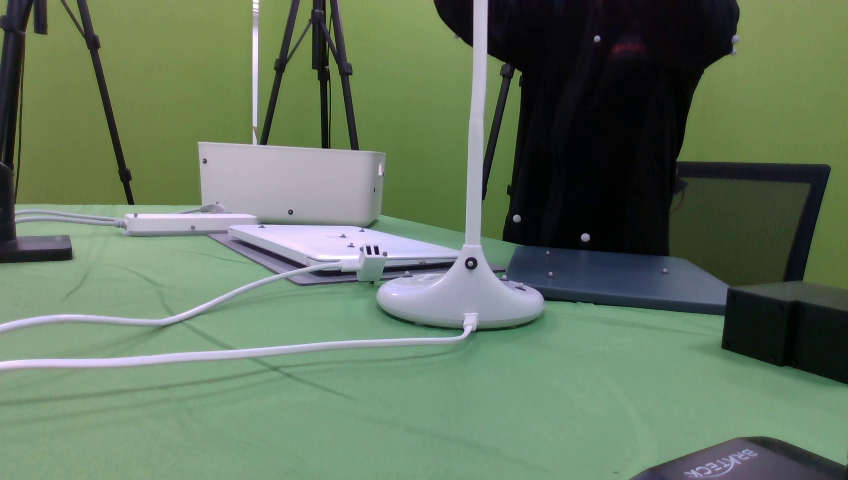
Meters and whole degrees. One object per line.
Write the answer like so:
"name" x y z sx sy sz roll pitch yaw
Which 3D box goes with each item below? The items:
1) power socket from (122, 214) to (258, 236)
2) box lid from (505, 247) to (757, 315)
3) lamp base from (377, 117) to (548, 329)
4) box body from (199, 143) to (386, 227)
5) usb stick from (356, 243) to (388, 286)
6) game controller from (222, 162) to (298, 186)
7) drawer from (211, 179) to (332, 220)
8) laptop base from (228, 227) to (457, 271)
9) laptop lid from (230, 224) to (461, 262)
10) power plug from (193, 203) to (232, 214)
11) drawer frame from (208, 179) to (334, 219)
"power socket" -0.399 -0.028 1.049 0.228 0.032 0.072 -3 8 -34
"box lid" 0.244 0.044 0.793 0.263 0.015 0.372 4 7 11
"lamp base" 0.041 -0.019 0.551 0.161 0.180 0.179 1 10 -10
"box body" -0.276 -0.124 1.334 0.364 0.160 0.254 3 7 1
"usb stick" -0.058 0.029 0.658 0.027 0.059 0.021 -5 52 -18
"game controller" -0.357 -0.143 1.321 0.156 0.051 0.097 1 2 -16
"drawer" -0.328 -0.095 1.332 0.212 0.073 0.194 5 8 6
"laptop base" -0.122 0.011 0.889 0.237 0.023 0.352 2 6 -35
"laptop lid" -0.120 0.000 0.889 0.243 0.013 0.355 1 7 -33
"power plug" -0.394 -0.042 1.139 0.072 0.052 0.035 -14 1 31
"drawer frame" -0.326 -0.093 1.328 0.213 0.082 0.202 -1 5 6
